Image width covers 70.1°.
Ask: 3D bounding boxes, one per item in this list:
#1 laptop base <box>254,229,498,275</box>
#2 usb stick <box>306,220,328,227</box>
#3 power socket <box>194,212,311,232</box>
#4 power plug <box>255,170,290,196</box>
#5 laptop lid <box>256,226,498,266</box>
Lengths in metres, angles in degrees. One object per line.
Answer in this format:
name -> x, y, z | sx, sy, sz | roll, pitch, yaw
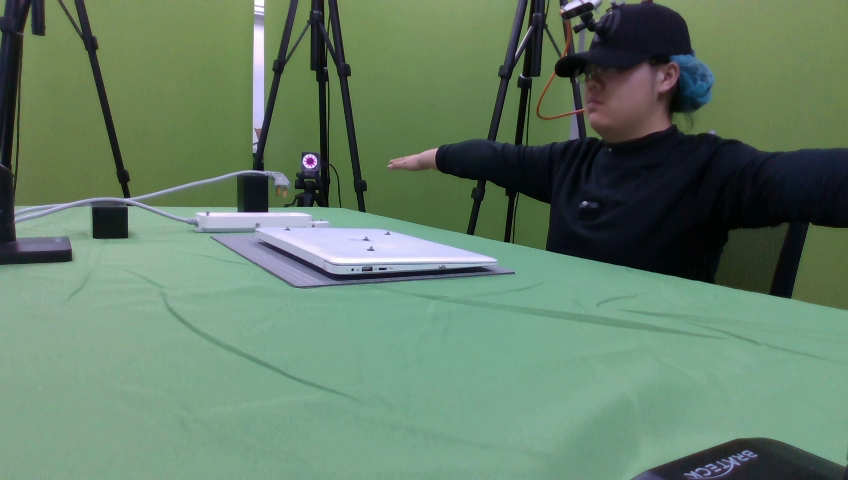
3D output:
laptop base -> -0.088, 0.016, 0.878 | 0.237, 0.023, 0.352 | 2, 6, -31
usb stick -> -0.194, -0.020, 1.075 | 0.021, 0.027, 0.059 | 5, 10, 22
power socket -> -0.322, -0.037, 1.153 | 0.228, 0.032, 0.072 | -2, 8, -34
power plug -> -0.323, -0.120, 1.285 | 0.073, 0.052, 0.035 | 2, -13, -13
laptop lid -> -0.085, 0.004, 0.878 | 0.243, 0.013, 0.355 | 1, 7, -29
